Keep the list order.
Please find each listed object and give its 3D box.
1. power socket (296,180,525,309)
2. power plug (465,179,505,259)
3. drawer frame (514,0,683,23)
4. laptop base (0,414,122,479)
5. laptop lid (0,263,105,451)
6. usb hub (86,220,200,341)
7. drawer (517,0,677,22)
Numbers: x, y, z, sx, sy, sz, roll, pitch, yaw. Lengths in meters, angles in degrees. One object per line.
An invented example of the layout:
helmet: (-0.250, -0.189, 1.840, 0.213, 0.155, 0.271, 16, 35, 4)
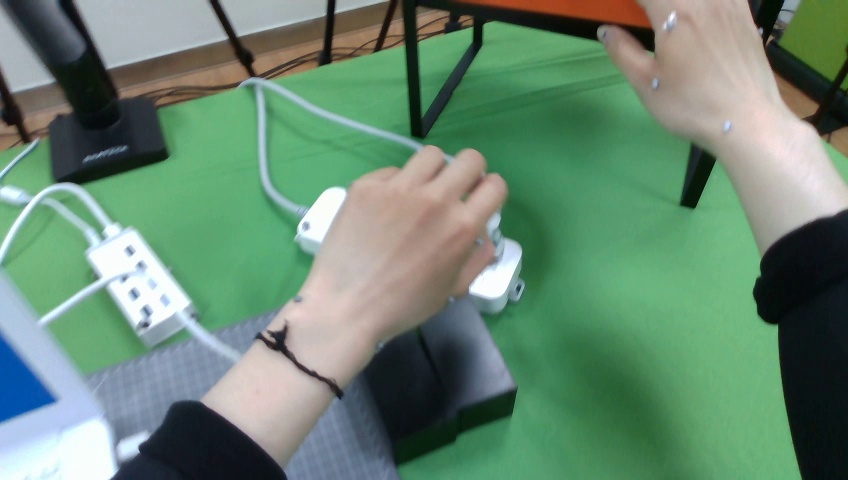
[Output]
power socket: (-0.014, 0.001, 0.570, 0.225, 0.033, 0.072, 18, 52, 16)
power plug: (0.064, -0.012, 0.550, 0.035, 0.053, 0.072, 27, 58, 23)
drawer frame: (0.138, -0.295, 0.544, 0.201, 0.083, 0.212, 12, 51, 12)
laptop base: (-0.352, 0.276, 0.362, 0.355, 0.023, 0.233, -22, 57, -15)
laptop lid: (-0.419, 0.103, 0.354, 0.357, 0.244, 0.013, -23, 40, -14)
usb hub: (-0.259, 0.034, 0.553, 0.049, 0.025, 0.124, -35, 58, -24)
drawer: (0.138, -0.291, 0.543, 0.194, 0.074, 0.210, 13, 51, 12)
